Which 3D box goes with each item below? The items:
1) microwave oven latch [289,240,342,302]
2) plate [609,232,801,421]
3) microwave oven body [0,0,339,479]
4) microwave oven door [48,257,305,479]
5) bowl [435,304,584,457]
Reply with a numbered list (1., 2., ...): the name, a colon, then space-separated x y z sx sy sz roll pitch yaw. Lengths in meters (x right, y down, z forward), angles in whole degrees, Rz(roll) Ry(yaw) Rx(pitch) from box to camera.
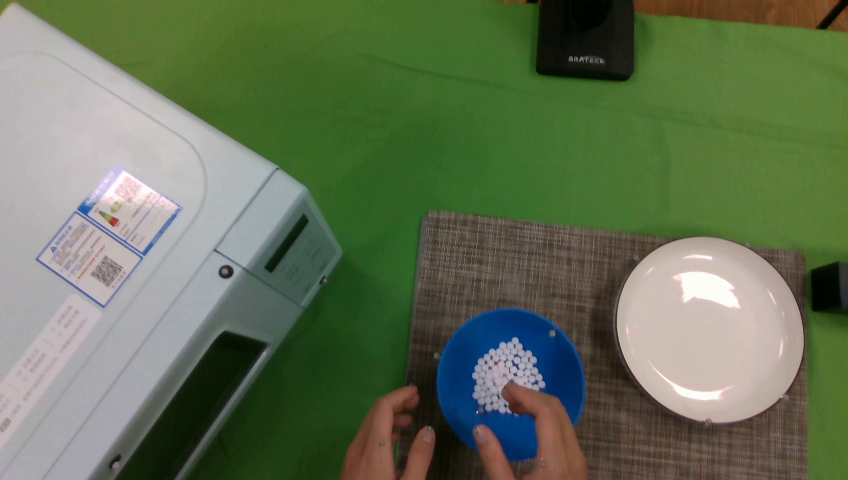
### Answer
1. microwave oven latch: -0.122 0.029 0.672 0.030 0.029 0.079 34 80 6
2. plate: 0.307 0.095 0.677 0.208 0.039 0.206 0 77 -1
3. microwave oven body: -0.342 0.074 0.560 0.325 0.261 0.441 32 80 6
4. microwave oven door: -0.242 0.184 0.531 0.039 0.245 0.355 32 79 7
5. bowl: 0.086 0.148 0.642 0.151 0.077 0.150 0 77 0
